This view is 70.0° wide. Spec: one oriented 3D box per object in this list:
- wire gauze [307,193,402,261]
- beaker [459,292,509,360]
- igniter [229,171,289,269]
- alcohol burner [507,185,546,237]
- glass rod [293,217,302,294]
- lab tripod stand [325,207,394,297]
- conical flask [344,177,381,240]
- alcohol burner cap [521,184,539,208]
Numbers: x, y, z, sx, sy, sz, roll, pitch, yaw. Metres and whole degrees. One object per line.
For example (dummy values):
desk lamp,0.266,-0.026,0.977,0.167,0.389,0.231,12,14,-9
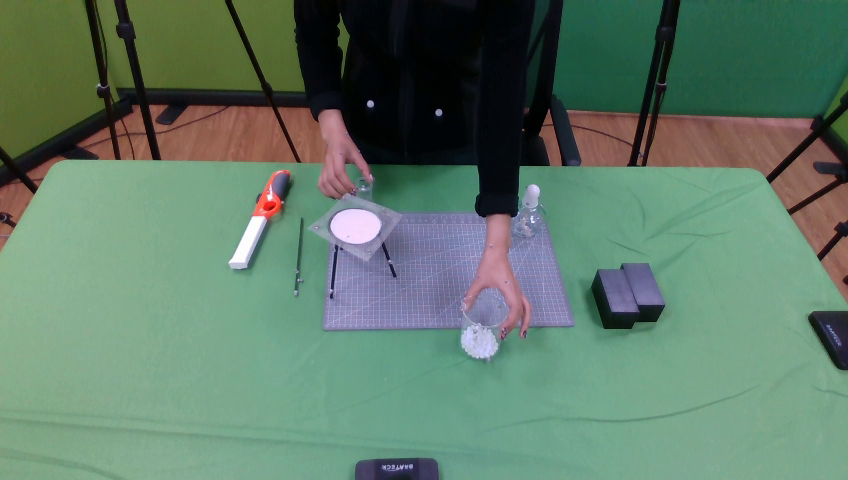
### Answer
wire gauze,-0.119,-0.028,1.043,0.125,0.011,0.121,24,47,17
beaker,0.095,0.146,1.013,0.083,0.101,0.074,24,48,21
igniter,-0.328,-0.049,1.218,0.057,0.025,0.275,1,45,11
alcohol burner,0.208,-0.063,1.210,0.078,0.119,0.077,3,44,-3
glass rod,-0.243,0.025,1.167,0.008,0.008,0.198,-2,46,-5
lab tripod stand,-0.124,0.017,1.092,0.148,0.132,0.147,3,44,-3
conical flask,-0.121,-0.065,1.180,0.075,0.122,0.075,3,45,-2
alcohol burner cap,0.209,-0.087,1.183,0.034,0.048,0.033,1,52,-1
